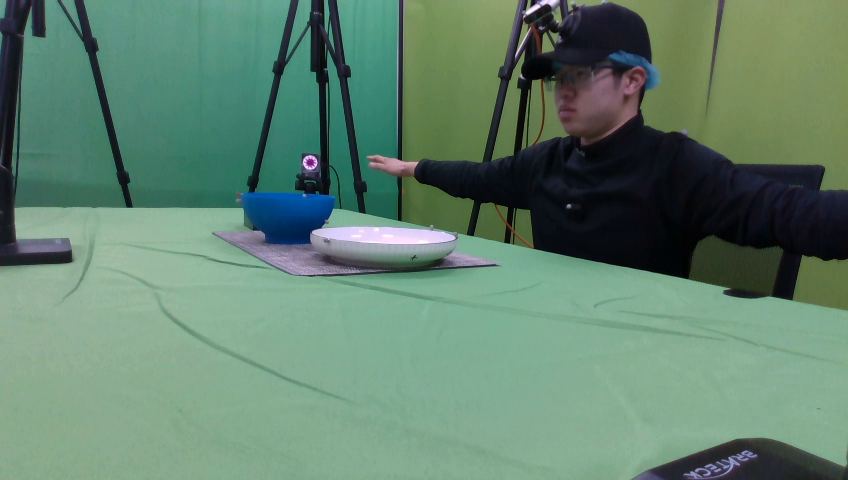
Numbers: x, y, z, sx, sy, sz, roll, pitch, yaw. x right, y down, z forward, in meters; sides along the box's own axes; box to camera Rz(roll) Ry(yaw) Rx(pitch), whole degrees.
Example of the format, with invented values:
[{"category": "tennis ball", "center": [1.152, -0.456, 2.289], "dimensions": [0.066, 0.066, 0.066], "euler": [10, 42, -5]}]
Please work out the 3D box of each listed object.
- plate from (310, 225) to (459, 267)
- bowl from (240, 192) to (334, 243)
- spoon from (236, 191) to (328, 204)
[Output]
[{"category": "plate", "center": [-0.055, 0.008, 0.851], "dimensions": [0.208, 0.039, 0.207], "euler": [2, 7, 0]}, {"category": "bowl", "center": [-0.223, -0.037, 0.992], "dimensions": [0.151, 0.077, 0.151], "euler": [2, 7, 0]}, {"category": "spoon", "center": [-0.283, -0.085, 1.222], "dimensions": [0.195, 0.021, 0.041], "euler": [-1, 8, -34]}]
